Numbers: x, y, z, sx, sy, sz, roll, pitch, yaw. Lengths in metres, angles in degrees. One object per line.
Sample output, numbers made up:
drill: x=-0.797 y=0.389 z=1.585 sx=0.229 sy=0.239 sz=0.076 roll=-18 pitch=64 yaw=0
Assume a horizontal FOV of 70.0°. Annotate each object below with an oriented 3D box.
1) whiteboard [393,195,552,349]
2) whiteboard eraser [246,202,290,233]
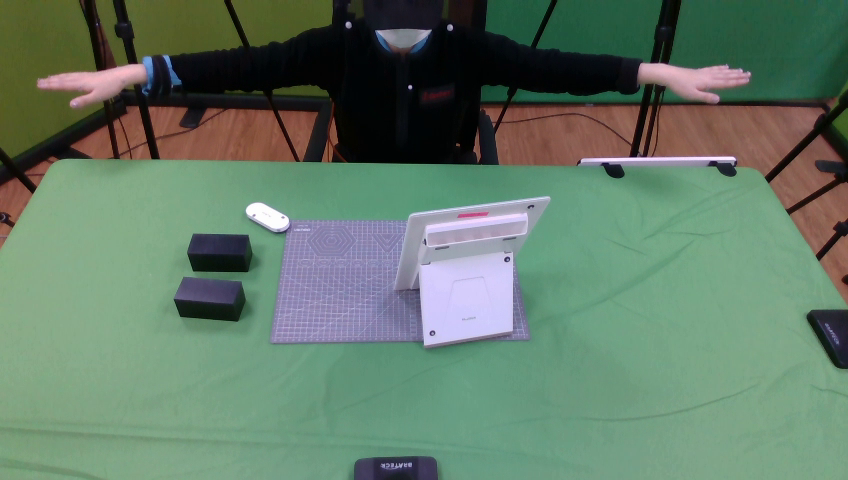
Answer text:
whiteboard: x=0.077 y=0.071 z=0.977 sx=0.217 sy=0.306 sz=0.143 roll=-7 pitch=66 yaw=-11
whiteboard eraser: x=-0.314 y=-0.047 z=1.218 sx=0.101 sy=0.019 sz=0.041 roll=28 pitch=51 yaw=22
